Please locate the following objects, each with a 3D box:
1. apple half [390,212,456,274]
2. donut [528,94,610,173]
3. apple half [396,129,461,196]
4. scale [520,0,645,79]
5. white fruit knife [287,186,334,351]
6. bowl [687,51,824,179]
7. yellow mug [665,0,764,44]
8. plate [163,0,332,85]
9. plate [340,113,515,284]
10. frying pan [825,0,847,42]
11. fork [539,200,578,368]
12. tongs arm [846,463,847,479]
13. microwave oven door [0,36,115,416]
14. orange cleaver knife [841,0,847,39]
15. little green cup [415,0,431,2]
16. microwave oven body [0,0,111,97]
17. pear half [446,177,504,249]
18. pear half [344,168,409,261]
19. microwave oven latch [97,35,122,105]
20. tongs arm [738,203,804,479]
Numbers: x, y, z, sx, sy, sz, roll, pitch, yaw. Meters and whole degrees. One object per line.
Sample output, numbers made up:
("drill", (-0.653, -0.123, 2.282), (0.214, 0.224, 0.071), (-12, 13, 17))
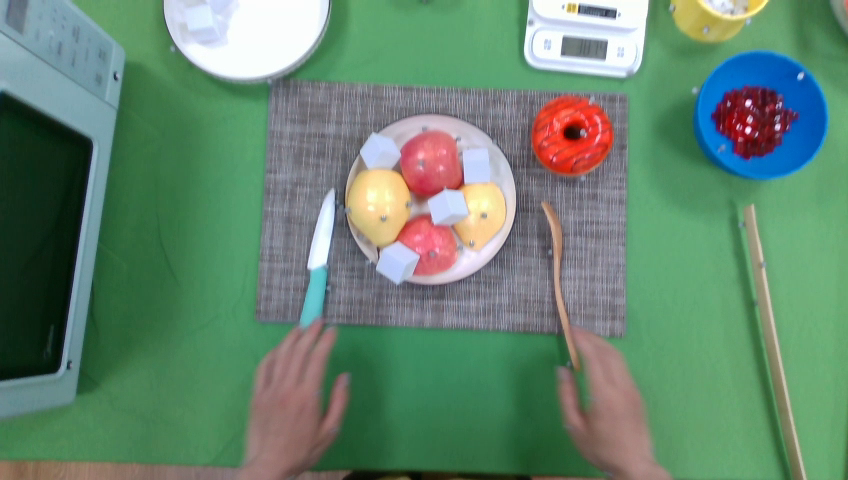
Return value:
("apple half", (-0.002, 0.003, 0.719), (0.081, 0.033, 0.081), (1, 78, -3))
("donut", (0.175, -0.129, 0.740), (0.099, 0.048, 0.099), (0, 84, 3))
("apple half", (0.004, -0.095, 0.722), (0.074, 0.053, 0.080), (-10, 87, 2))
("scale", (0.205, -0.311, 0.770), (0.148, 0.031, 0.200), (7, 84, 1))
("white fruit knife", (-0.133, 0.033, 0.736), (0.027, 0.016, 0.207), (11, 83, -10))
("bowl", (0.381, -0.140, 0.728), (0.151, 0.077, 0.151), (0, 84, 0))
("yellow mug", (0.354, -0.318, 0.753), (0.100, 0.064, 0.130), (-30, 84, -3))
("plate", (-0.219, -0.292, 0.765), (0.208, 0.039, 0.207), (0, 84, 0))
("plate", (0.005, -0.049, 0.734), (0.209, 0.038, 0.208), (0, 84, 0))
("frying pan", (0.675, -0.240, 0.726), (0.307, 0.103, 0.485), (-24, 76, -1))
("fork", (0.163, 0.052, 0.732), (0.018, 0.028, 0.207), (-9, 86, 26))
("tongs arm", (0.514, 0.142, 0.720), (0.028, 0.028, 0.386), (8, 85, -6))
("microwave oven door", (-0.413, -0.003, 0.612), (0.039, 0.244, 0.355), (5, 83, 1))
("orange cleaver knife", (0.513, -0.313, 0.714), (0.077, 0.012, 0.210), (-7, 84, -4))
("little green cup", (-0.002, -0.336, 0.770), (0.061, 0.039, 0.061), (0, 83, 1))
("microwave oven body", (-0.554, -0.057, 0.623), (0.326, 0.260, 0.440), (5, 84, 0))
("pear half", (0.059, -0.035, 0.726), (0.070, 0.031, 0.087), (4, 81, 14))
("pear half", (-0.054, -0.030, 0.710), (0.076, 0.056, 0.109), (-4, 88, -8))
("microwave oven latch", (-0.390, -0.207, 0.737), (0.030, 0.029, 0.079), (6, 84, 0))
("tongs arm", (0.430, 0.144, 0.718), (0.051, 0.026, 0.383), (-6, 85, -4))
